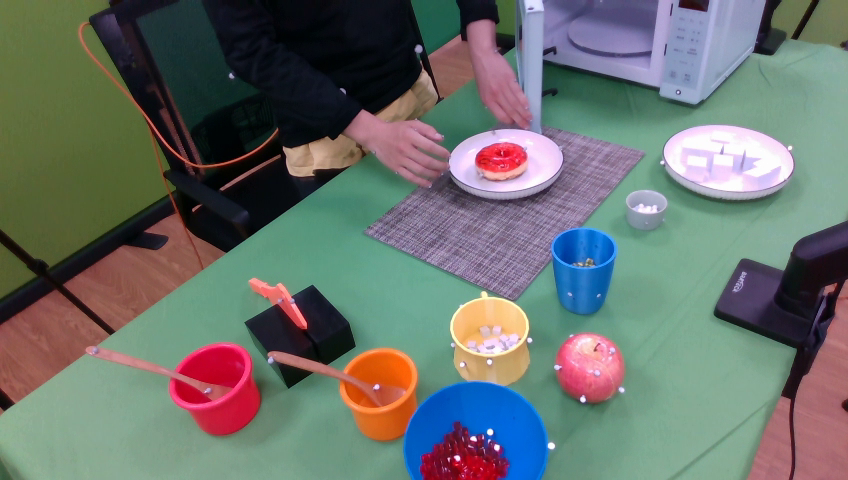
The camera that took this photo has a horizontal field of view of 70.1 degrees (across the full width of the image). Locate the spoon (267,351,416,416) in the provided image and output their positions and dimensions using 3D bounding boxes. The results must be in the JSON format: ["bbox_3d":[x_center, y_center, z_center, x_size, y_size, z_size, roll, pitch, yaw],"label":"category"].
[{"bbox_3d":[-0.090,0.162,0.699,0.021,0.195,0.041,-44,31,27],"label":"spoon"}]

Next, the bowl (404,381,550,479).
[{"bbox_3d":[0.058,0.235,0.645,0.151,0.077,0.150,-4,39,4],"label":"bowl"}]

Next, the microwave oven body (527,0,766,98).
[{"bbox_3d":[0.472,-0.513,1.317,0.438,0.261,0.327,26,51,34],"label":"microwave oven body"}]

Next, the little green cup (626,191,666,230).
[{"bbox_3d":[0.352,-0.046,0.963,0.061,0.039,0.061,-4,40,4],"label":"little green cup"}]

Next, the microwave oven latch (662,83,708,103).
[{"bbox_3d":[0.517,-0.296,1.204,0.078,0.029,0.030,27,52,35],"label":"microwave oven latch"}]

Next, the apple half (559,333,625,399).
[{"bbox_3d":[0.209,0.147,0.730,0.080,0.075,0.053,26,48,38],"label":"apple half"}]

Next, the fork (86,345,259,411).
[{"bbox_3d":[-0.298,0.166,0.728,0.209,0.018,0.028,28,47,-23],"label":"fork"}]

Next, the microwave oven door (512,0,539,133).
[{"bbox_3d":[0.205,-0.407,1.224,0.039,0.245,0.354,-2,41,7],"label":"microwave oven door"}]

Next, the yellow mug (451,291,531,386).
[{"bbox_3d":[0.085,0.120,0.786,0.100,0.064,0.130,-7,39,1],"label":"yellow mug"}]

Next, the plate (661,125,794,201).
[{"bbox_3d":[0.513,-0.128,1.035,0.207,0.039,0.206,-4,40,4],"label":"plate"}]

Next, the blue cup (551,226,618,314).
[{"bbox_3d":[0.218,0.047,0.826,0.092,0.101,0.092,-6,40,5],"label":"blue cup"}]

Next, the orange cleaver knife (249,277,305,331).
[{"bbox_3d":[-0.210,0.088,0.855,0.012,0.077,0.210,-28,15,-25],"label":"orange cleaver knife"}]

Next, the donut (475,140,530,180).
[{"bbox_3d":[0.141,-0.145,1.089,0.099,0.048,0.098,-6,39,5],"label":"donut"}]

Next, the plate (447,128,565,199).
[{"bbox_3d":[0.148,-0.134,1.092,0.209,0.038,0.208,-4,40,4],"label":"plate"}]

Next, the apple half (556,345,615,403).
[{"bbox_3d":[0.181,0.167,0.709,0.080,0.081,0.033,29,50,35],"label":"apple half"}]
